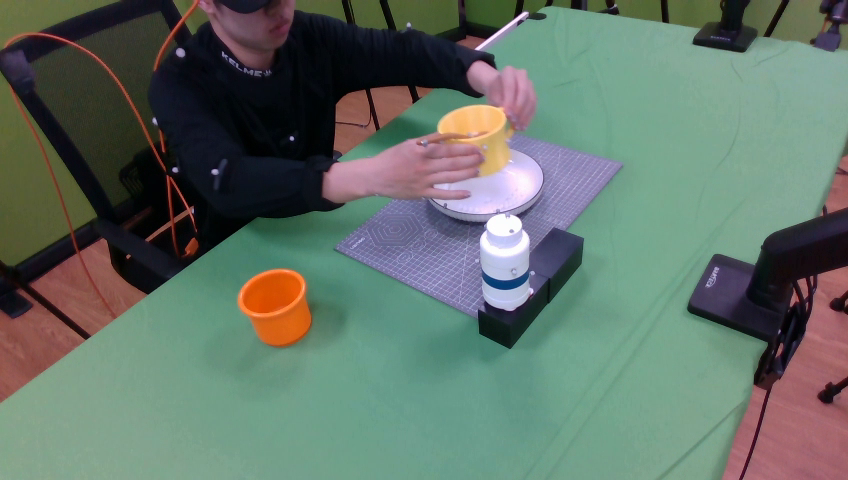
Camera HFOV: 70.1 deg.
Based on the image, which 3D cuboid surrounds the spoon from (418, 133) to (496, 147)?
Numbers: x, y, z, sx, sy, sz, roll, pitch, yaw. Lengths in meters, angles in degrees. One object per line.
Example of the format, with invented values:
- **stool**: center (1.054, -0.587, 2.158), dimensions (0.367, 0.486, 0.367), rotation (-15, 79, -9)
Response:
- **spoon**: center (0.049, -0.139, 0.835), dimensions (0.041, 0.021, 0.195), rotation (13, 14, 34)

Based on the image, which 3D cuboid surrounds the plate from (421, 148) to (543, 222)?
- **plate**: center (0.101, -0.094, 1.048), dimensions (0.207, 0.039, 0.206), rotation (-4, 41, 4)

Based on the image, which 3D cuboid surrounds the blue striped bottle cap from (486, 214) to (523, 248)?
- **blue striped bottle cap**: center (0.098, -0.011, 0.735), dimensions (0.044, 0.021, 0.044), rotation (-2, 38, 2)

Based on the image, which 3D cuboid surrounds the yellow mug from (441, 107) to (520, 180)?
- **yellow mug**: center (0.091, -0.150, 0.888), dimensions (0.131, 0.064, 0.099), rotation (-31, 42, -22)

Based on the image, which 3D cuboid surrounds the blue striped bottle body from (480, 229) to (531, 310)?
- **blue striped bottle body**: center (0.104, 0.027, 0.769), dimensions (0.063, 0.121, 0.063), rotation (-4, 40, 4)
